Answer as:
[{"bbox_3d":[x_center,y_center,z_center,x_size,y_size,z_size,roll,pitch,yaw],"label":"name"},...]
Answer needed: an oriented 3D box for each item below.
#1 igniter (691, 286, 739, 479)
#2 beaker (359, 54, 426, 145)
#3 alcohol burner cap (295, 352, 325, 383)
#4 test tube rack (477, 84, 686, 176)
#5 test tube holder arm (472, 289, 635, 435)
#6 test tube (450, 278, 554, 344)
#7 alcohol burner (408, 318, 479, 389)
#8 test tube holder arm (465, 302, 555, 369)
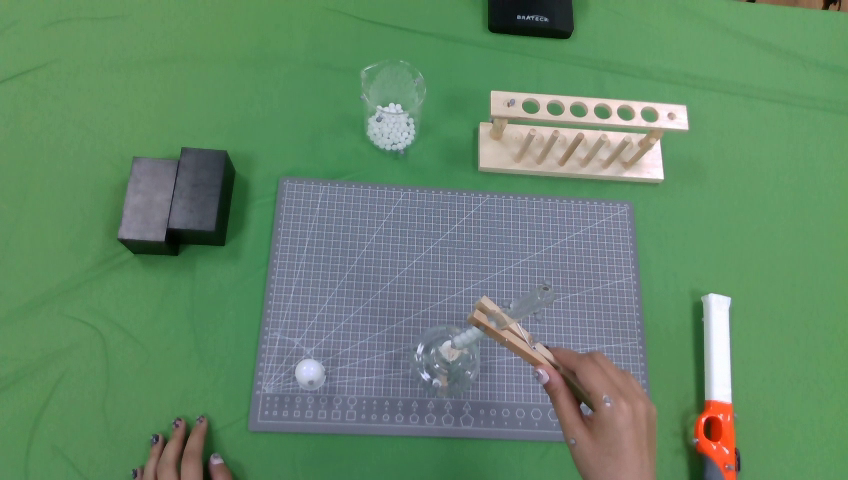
[{"bbox_3d":[0.335,0.188,0.699,0.057,0.025,0.275,13,71,-12],"label":"igniter"},{"bbox_3d":[-0.043,-0.168,0.740,0.084,0.101,0.074,30,71,6],"label":"beaker"},{"bbox_3d":[-0.124,0.136,0.656,0.034,0.048,0.033,2,72,-6],"label":"alcohol burner cap"},{"bbox_3d":[0.193,-0.135,0.761,0.243,0.085,0.066,3,71,-5],"label":"test tube rack"},{"bbox_3d":[0.111,0.104,0.512,0.179,0.015,0.013,41,59,-5],"label":"test tube holder arm"},{"bbox_3d":[0.058,0.062,0.501,0.017,0.150,0.017,10,64,-22],"label":"test tube"},{"bbox_3d":[0.023,0.116,0.641,0.078,0.119,0.077,2,69,-6],"label":"alcohol burner"},{"bbox_3d":[0.073,0.080,0.504,0.088,0.015,0.010,34,59,-9],"label":"test tube holder arm"}]
